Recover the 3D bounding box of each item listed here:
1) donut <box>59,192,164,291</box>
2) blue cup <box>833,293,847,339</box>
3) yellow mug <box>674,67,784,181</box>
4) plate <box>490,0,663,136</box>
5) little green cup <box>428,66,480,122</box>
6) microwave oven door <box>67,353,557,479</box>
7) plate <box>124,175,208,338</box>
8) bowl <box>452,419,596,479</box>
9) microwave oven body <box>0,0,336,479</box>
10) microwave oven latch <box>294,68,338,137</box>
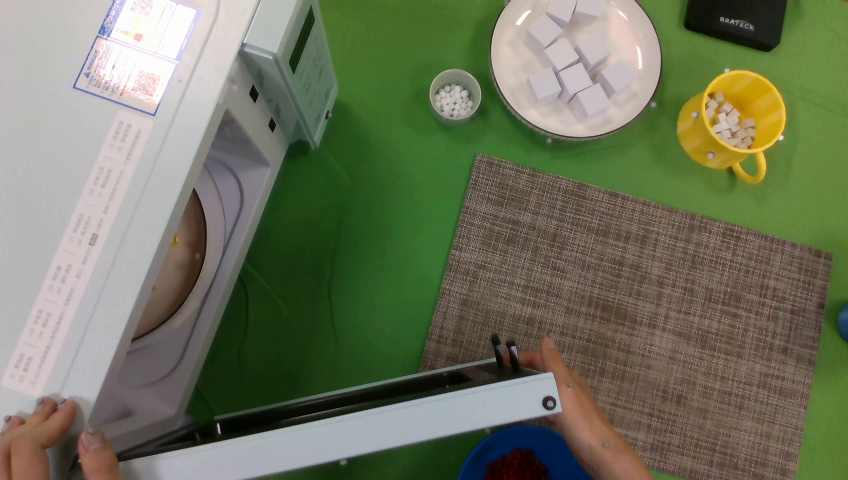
[{"bbox_3d":[-0.309,0.001,0.602,0.099,0.048,0.099,0,86,-3],"label":"donut"},{"bbox_3d":[0.523,0.085,0.679,0.093,0.100,0.092,1,81,-4],"label":"blue cup"},{"bbox_3d":[0.366,-0.131,0.718,0.100,0.064,0.130,-21,85,-6],"label":"yellow mug"},{"bbox_3d":[0.181,-0.223,0.735,0.208,0.039,0.207,0,82,-3],"label":"plate"},{"bbox_3d":[0.034,-0.170,0.718,0.061,0.038,0.061,1,83,-4],"label":"little green cup"},{"bbox_3d":[-0.080,0.158,0.549,0.356,0.244,0.039,-11,82,-4],"label":"microwave oven door"},{"bbox_3d":[-0.322,-0.001,0.611,0.209,0.038,0.208,1,85,-6],"label":"plate"},{"bbox_3d":[0.099,0.261,0.644,0.151,0.077,0.151,1,83,-4],"label":"bowl"},{"bbox_3d":[-0.316,-0.055,0.570,0.326,0.260,0.440,19,82,-1],"label":"microwave oven body"},{"bbox_3d":[-0.124,-0.160,0.691,0.030,0.029,0.079,23,82,0],"label":"microwave oven latch"}]
